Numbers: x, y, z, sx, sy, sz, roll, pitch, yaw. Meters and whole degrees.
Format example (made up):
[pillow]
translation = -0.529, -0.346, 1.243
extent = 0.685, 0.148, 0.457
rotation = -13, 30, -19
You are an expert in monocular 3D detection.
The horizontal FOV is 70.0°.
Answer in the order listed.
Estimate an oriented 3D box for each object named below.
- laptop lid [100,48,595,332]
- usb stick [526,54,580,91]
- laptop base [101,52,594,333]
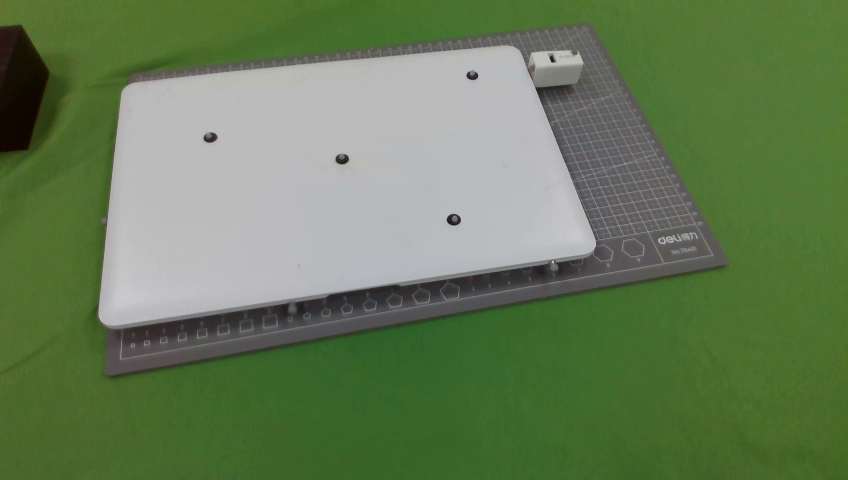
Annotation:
[laptop lid]
translation = -0.065, -0.059, 0.482
extent = 0.357, 0.013, 0.239
rotation = -7, 58, -7
[usb stick]
translation = 0.110, -0.152, 0.552
extent = 0.059, 0.027, 0.021
rotation = -8, 57, -5
[laptop base]
translation = -0.065, -0.054, 0.493
extent = 0.355, 0.023, 0.233
rotation = -8, 59, -8
